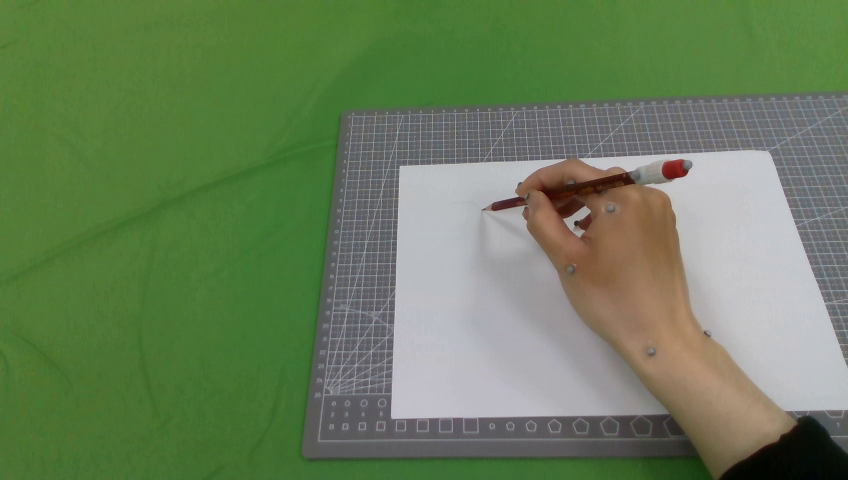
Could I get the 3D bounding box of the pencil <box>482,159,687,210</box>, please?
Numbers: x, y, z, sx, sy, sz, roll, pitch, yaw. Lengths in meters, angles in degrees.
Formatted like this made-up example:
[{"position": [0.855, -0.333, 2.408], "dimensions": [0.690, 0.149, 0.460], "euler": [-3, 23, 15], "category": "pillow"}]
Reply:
[{"position": [0.086, -0.031, 0.384], "dimensions": [0.012, 0.193, 0.012], "euler": [1, 86, -25], "category": "pencil"}]
